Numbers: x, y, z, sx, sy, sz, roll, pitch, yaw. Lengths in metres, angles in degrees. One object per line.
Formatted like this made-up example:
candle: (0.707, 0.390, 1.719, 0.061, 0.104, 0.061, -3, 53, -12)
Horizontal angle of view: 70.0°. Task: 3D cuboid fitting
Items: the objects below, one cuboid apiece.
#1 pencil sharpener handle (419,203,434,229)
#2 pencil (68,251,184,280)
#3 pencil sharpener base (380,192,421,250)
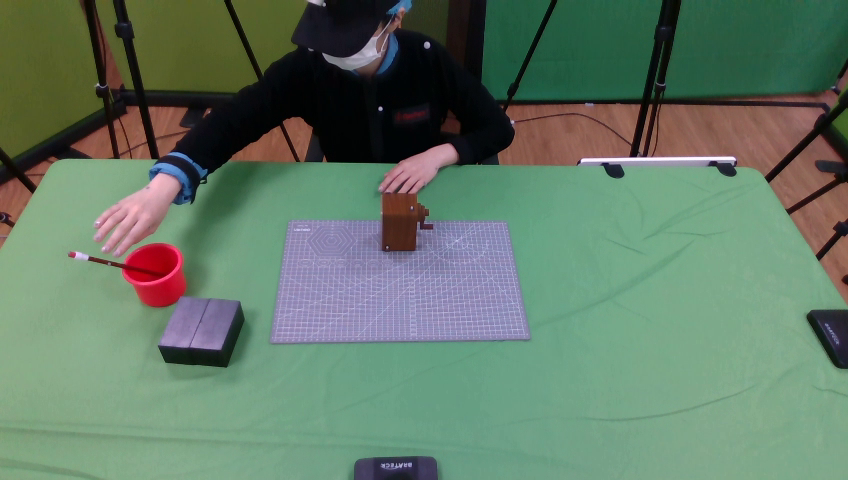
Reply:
pencil sharpener handle: (0.006, -0.045, 1.160, 0.031, 0.068, 0.036, 0, 53, -4)
pencil: (-0.498, 0.046, 1.027, 0.195, 0.012, 0.012, 21, 29, -45)
pencil sharpener base: (-0.046, -0.035, 1.163, 0.077, 0.107, 0.061, 0, 46, -4)
